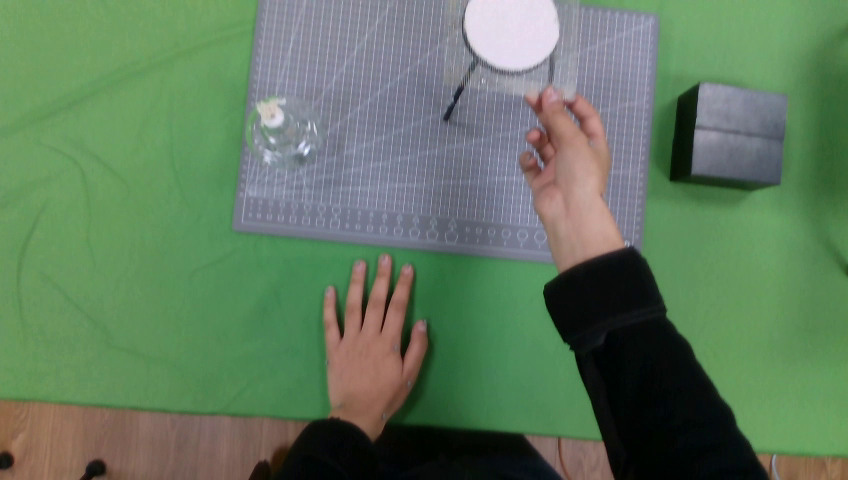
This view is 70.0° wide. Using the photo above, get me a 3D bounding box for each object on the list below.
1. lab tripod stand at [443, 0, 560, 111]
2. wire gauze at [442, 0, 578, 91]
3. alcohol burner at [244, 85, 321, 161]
[{"bbox_3d":[0.073,-0.201,0.609,0.148,0.131,0.148,0,87,-2],"label":"lab tripod stand"},{"bbox_3d":[0.079,-0.199,0.541,0.125,0.011,0.121,4,87,-3],"label":"wire gauze"},{"bbox_3d":[-0.143,-0.120,0.600,0.078,0.119,0.078,0,89,-4],"label":"alcohol burner"}]
